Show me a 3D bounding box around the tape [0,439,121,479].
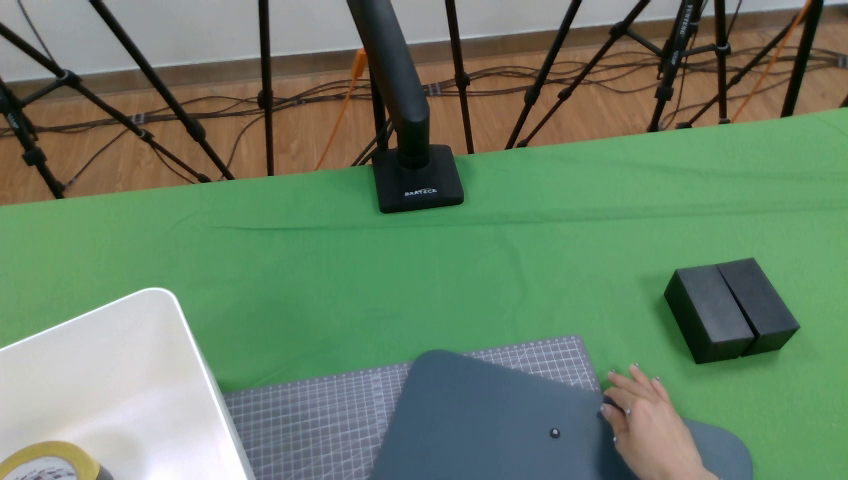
[{"bbox_3d":[-0.350,0.248,0.563,0.117,0.053,0.115,0,50,0],"label":"tape"}]

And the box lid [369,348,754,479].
[{"bbox_3d":[0.132,0.261,0.591,0.370,0.015,0.261,14,53,10],"label":"box lid"}]

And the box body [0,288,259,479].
[{"bbox_3d":[-0.330,0.239,0.507,0.364,0.162,0.251,-25,55,-18],"label":"box body"}]
